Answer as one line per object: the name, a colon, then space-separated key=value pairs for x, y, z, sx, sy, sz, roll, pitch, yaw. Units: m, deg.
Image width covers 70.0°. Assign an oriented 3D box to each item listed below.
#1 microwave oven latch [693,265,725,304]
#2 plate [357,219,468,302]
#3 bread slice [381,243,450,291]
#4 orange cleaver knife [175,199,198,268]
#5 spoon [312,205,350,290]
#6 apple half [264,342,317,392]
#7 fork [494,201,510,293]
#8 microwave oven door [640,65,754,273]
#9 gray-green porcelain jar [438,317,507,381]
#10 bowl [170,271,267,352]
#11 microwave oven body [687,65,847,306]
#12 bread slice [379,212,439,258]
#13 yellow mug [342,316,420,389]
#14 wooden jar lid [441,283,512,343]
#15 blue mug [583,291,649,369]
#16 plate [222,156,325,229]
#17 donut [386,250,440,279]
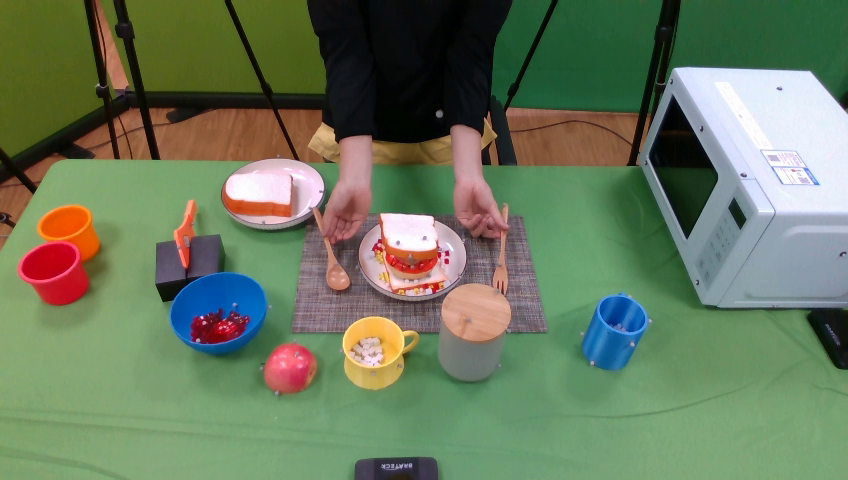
microwave oven latch: x=0.522 y=0.081 z=1.115 sx=0.030 sy=0.029 sz=0.078 roll=2 pitch=46 yaw=-1
plate: x=-0.021 y=0.037 z=1.141 sx=0.208 sy=0.039 sz=0.206 roll=2 pitch=46 yaw=-2
bread slice: x=-0.026 y=0.039 z=1.139 sx=0.107 sy=0.018 sz=0.133 roll=-12 pitch=46 yaw=-17
orange cleaver knife: x=-0.438 y=-0.017 z=1.138 sx=0.012 sy=0.077 sz=0.210 roll=-14 pitch=27 yaw=-6
spoon: x=-0.180 y=0.011 z=1.139 sx=0.042 sy=0.022 sz=0.192 roll=-14 pitch=67 yaw=-14
apple half: x=-0.214 y=0.198 z=0.970 sx=0.074 sy=0.053 sz=0.080 roll=19 pitch=47 yaw=11
fork: x=0.154 y=0.010 z=1.165 sx=0.028 sy=0.019 sz=0.206 roll=4 pitch=64 yaw=8
microwave oven door: x=0.523 y=-0.147 z=1.193 sx=0.039 sy=0.245 sz=0.353 roll=0 pitch=47 yaw=-3
gray-green porcelain jar: x=0.076 y=0.158 z=0.977 sx=0.106 sy=0.127 sz=0.105 roll=2 pitch=47 yaw=-2
bowl: x=-0.333 y=0.132 z=1.006 sx=0.151 sy=0.077 sz=0.150 roll=2 pitch=46 yaw=-2
microwave oven body: x=0.669 y=-0.111 z=1.176 sx=0.326 sy=0.261 sz=0.439 roll=0 pitch=46 yaw=-3
bread slice: x=-0.024 y=-0.012 z=1.064 sx=0.105 sy=0.019 sz=0.130 roll=3 pitch=32 yaw=-10
yellow mug: x=-0.067 y=0.177 z=0.991 sx=0.131 sy=0.064 sz=0.099 roll=-16 pitch=50 yaw=-19
wooden jar lid: x=0.080 y=0.114 z=0.931 sx=0.108 sy=0.021 sz=0.107 roll=1 pitch=49 yaw=0
blue mug: x=0.324 y=0.142 z=1.023 sx=0.082 sy=0.106 sz=0.116 roll=15 pitch=47 yaw=11
plate: x=-0.308 y=-0.095 z=1.251 sx=0.209 sy=0.038 sz=0.208 roll=2 pitch=47 yaw=-2
donut: x=-0.021 y=0.029 z=1.110 sx=0.099 sy=0.048 sz=0.098 roll=2 pitch=46 yaw=-2
